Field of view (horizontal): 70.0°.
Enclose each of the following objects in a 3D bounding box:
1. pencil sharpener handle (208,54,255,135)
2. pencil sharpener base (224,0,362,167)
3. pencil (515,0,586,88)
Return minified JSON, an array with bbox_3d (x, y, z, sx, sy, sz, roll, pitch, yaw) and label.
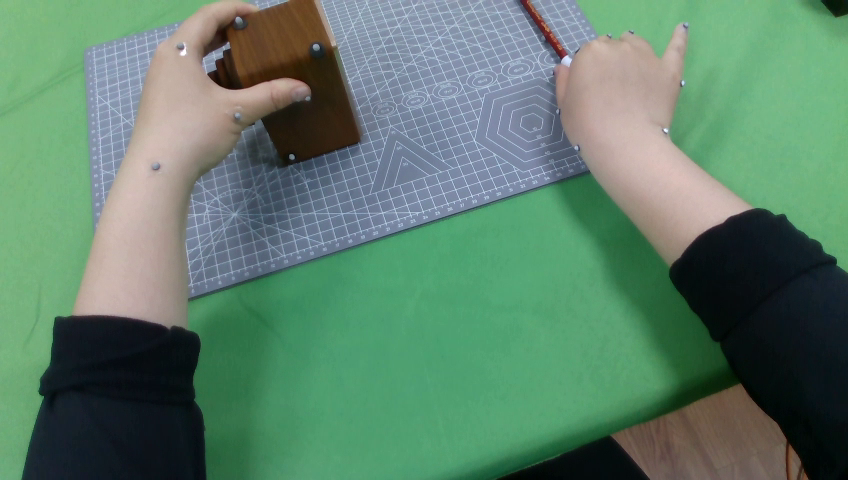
[{"bbox_3d":[-0.148,-0.104,0.450,0.030,0.068,0.035,-20,63,-5],"label":"pencil sharpener handle"},{"bbox_3d":[-0.099,-0.115,0.465,0.077,0.108,0.061,-20,62,-5],"label":"pencil sharpener base"},{"bbox_3d":[0.097,-0.205,0.551,0.012,0.012,0.192,-21,61,-6],"label":"pencil"}]
